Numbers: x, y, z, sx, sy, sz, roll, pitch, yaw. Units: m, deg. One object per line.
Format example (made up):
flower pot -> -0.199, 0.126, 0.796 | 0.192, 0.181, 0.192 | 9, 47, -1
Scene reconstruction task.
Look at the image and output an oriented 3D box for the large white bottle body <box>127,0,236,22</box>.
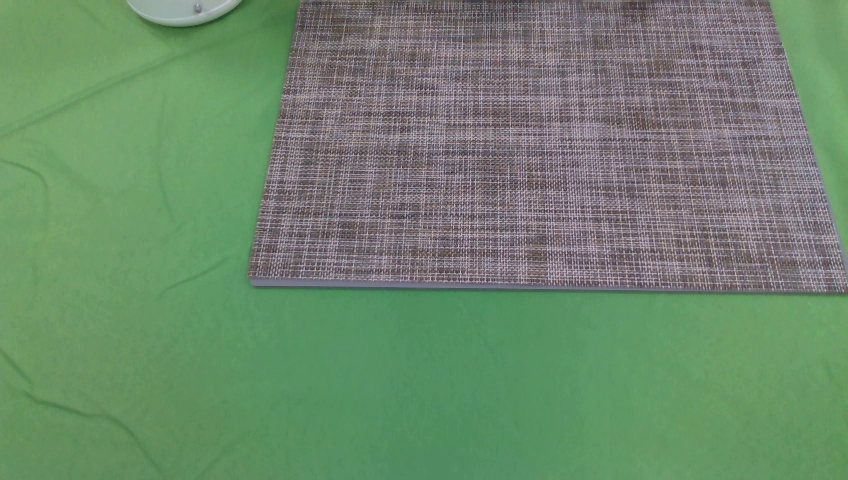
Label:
large white bottle body -> -0.240, -0.305, 0.532 | 0.130, 0.186, 0.129 | -1, 63, 2
